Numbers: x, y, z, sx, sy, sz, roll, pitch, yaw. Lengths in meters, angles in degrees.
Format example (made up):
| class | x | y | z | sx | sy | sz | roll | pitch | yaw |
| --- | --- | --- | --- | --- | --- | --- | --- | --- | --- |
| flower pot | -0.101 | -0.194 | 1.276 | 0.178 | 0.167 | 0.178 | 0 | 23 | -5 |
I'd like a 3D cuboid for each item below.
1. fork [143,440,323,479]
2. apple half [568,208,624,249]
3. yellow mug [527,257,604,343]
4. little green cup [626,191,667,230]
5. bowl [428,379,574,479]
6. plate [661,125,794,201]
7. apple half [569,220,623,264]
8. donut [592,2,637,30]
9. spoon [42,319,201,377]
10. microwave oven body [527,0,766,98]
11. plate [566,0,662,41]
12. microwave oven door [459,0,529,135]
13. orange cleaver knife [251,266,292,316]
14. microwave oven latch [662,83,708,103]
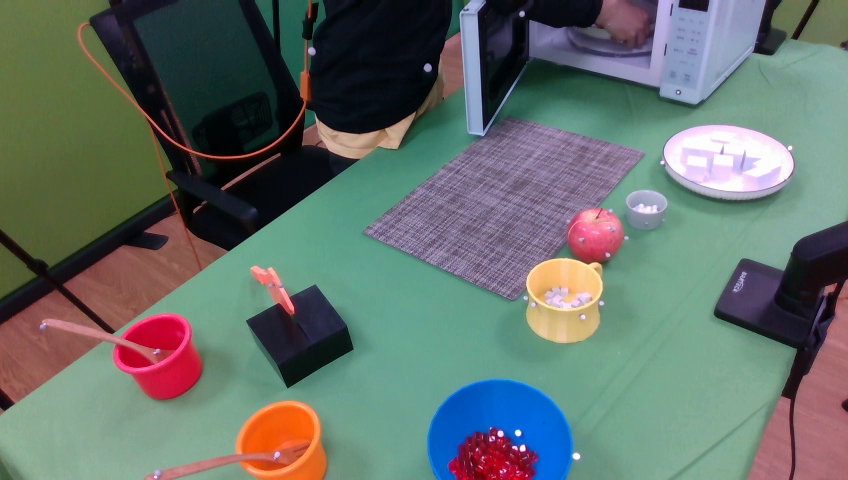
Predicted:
| class | x | y | z | sx | sy | sz | roll | pitch | yaw |
| --- | --- | --- | --- | --- | --- | --- | --- | --- | --- |
| fork | -0.190 | 0.231 | 0.631 | 0.028 | 0.018 | 0.209 | 38 | 14 | 37 |
| apple half | 0.259 | -0.014 | 0.914 | 0.080 | 0.075 | 0.053 | 0 | 36 | 15 |
| yellow mug | 0.201 | 0.072 | 0.825 | 0.131 | 0.064 | 0.099 | -32 | 46 | -27 |
| little green cup | 0.352 | -0.046 | 0.963 | 0.061 | 0.039 | 0.061 | -4 | 40 | 4 |
| bowl | 0.082 | 0.233 | 0.644 | 0.151 | 0.077 | 0.150 | -4 | 39 | 4 |
| plate | 0.514 | -0.128 | 1.035 | 0.207 | 0.039 | 0.206 | -4 | 40 | 4 |
| apple half | 0.251 | 0.010 | 0.884 | 0.081 | 0.081 | 0.032 | 3 | 37 | 12 |
| donut | 0.427 | -0.504 | 1.359 | 0.099 | 0.048 | 0.098 | -5 | 39 | 4 |
| spoon | -0.385 | 0.135 | 0.779 | 0.195 | 0.021 | 0.041 | 28 | 36 | -26 |
| microwave oven body | 0.472 | -0.513 | 1.317 | 0.438 | 0.261 | 0.327 | 25 | 51 | 34 |
| plate | 0.427 | -0.498 | 1.369 | 0.209 | 0.038 | 0.208 | -4 | 40 | 4 |
| microwave oven door | 0.153 | -0.410 | 1.237 | 0.039 | 0.245 | 0.356 | 11 | 44 | 20 |
| orange cleaver knife | -0.221 | 0.071 | 0.873 | 0.012 | 0.077 | 0.210 | -25 | 11 | -21 |
| microwave oven latch | 0.518 | -0.296 | 1.204 | 0.078 | 0.029 | 0.030 | 28 | 52 | 35 |
